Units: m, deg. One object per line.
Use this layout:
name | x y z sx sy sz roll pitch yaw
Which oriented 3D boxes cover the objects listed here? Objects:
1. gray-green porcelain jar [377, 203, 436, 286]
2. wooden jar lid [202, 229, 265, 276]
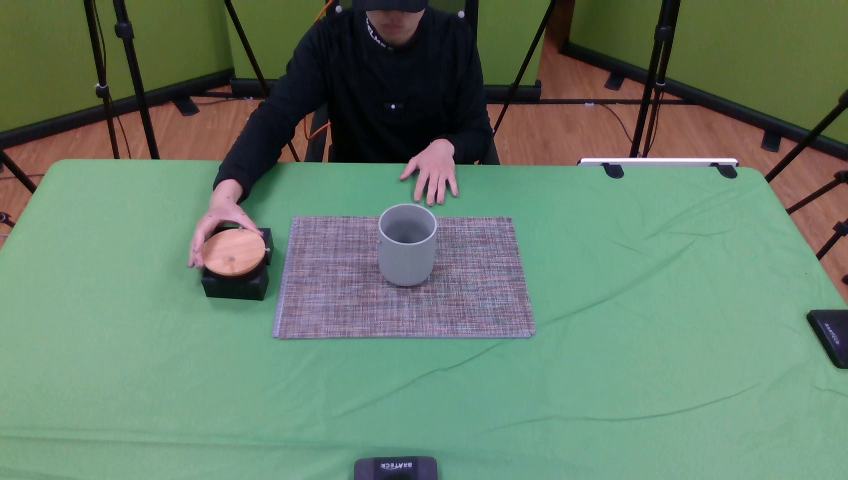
gray-green porcelain jar | -0.033 0.014 1.106 0.106 0.127 0.105 2 46 -2
wooden jar lid | -0.339 0.024 1.083 0.108 0.021 0.107 3 45 -3
